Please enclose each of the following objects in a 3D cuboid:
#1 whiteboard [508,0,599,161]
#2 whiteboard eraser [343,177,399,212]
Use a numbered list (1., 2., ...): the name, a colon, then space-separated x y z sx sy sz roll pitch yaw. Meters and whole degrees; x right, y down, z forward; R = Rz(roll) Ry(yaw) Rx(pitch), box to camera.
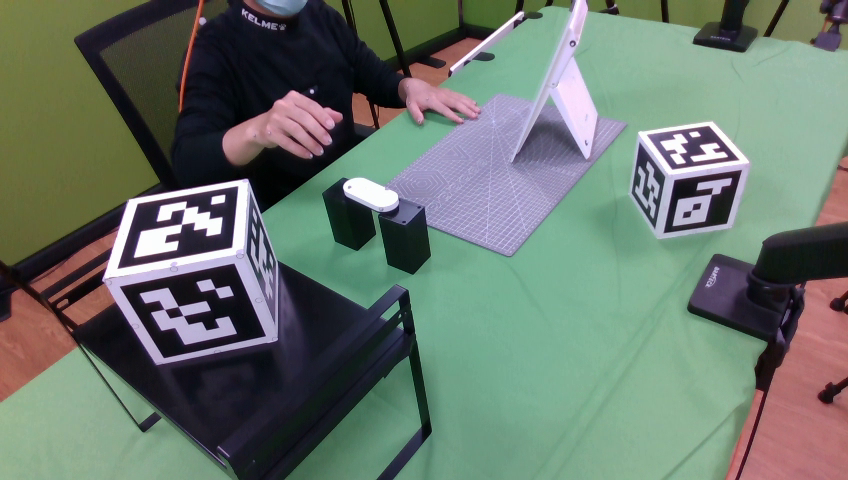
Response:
1. whiteboard: 0.285 -0.289 1.090 0.144 0.305 0.217 22 45 3
2. whiteboard eraser: -0.080 -0.069 0.909 0.100 0.019 0.041 25 51 34
